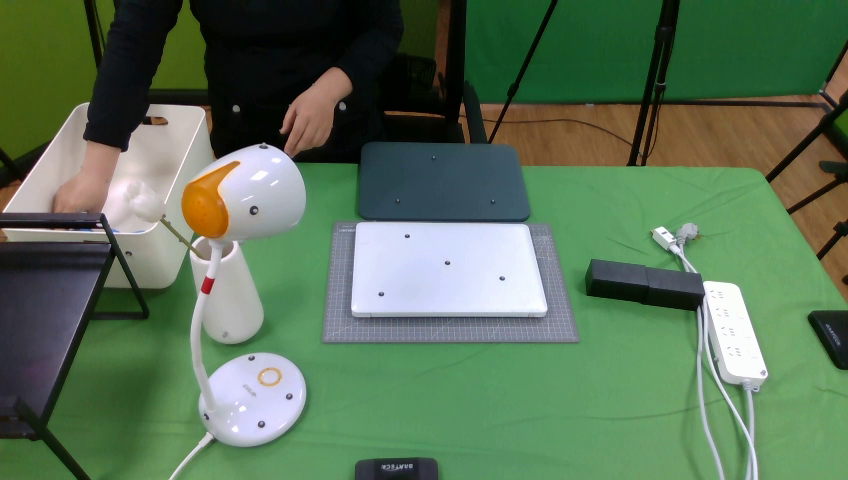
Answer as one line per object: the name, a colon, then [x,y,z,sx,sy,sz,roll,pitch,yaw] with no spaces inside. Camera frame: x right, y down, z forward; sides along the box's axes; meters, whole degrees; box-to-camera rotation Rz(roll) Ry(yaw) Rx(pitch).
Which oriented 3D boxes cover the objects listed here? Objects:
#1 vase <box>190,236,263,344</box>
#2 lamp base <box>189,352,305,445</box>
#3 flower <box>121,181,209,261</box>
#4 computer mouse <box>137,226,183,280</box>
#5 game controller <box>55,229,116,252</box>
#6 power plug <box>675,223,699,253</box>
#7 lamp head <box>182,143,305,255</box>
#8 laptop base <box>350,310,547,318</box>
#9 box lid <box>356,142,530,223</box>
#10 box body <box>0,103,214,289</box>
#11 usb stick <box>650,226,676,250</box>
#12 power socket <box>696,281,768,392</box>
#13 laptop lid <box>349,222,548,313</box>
vase: [-0.317,0.081,0.971,0.098,0.201,0.097,3,47,-3]
lamp base: [-0.268,0.196,0.876,0.160,0.181,0.179,25,52,20]
flower: [-0.329,0.029,0.905,0.038,0.364,0.044,-22,58,-1]
computer mouse: [-0.487,0.021,1.118,0.063,0.041,0.116,1,55,-6]
game controller: [-0.597,0.011,1.116,0.155,0.052,0.096,1,48,-1]
power plug: [0.537,0.000,1.244,0.053,0.035,0.072,20,83,-18]
lamp head: [-0.216,-0.044,0.697,0.112,0.113,0.123,23,31,17]
laptop base: [0.041,0.056,1.149,0.355,0.023,0.234,0,43,-4]
box lid: [0.040,-0.132,1.339,0.372,0.015,0.261,0,46,-4]
box body: [-0.563,-0.087,1.139,0.254,0.161,0.361,2,46,-3]
usb stick: [0.485,-0.008,1.237,0.021,0.027,0.059,-22,44,-14]
power socket: [0.543,0.161,1.077,0.072,0.033,0.225,6,46,2]
laptop lid: [0.042,0.046,1.142,0.357,0.013,0.240,2,44,-3]
